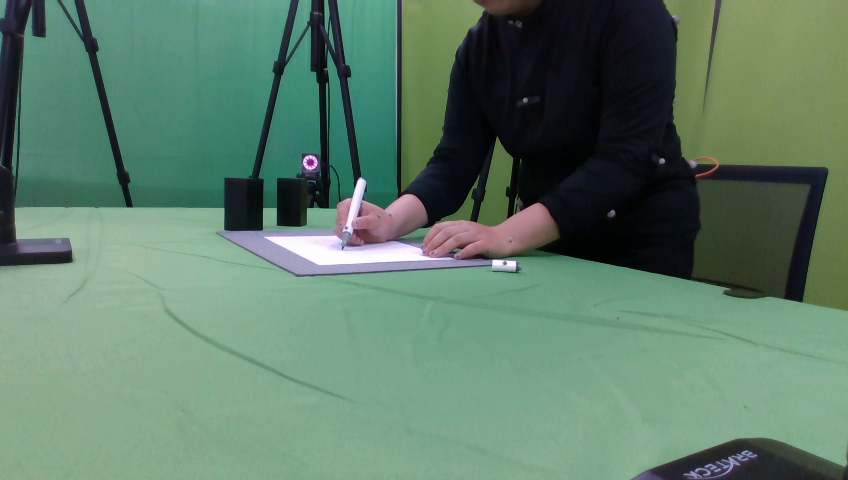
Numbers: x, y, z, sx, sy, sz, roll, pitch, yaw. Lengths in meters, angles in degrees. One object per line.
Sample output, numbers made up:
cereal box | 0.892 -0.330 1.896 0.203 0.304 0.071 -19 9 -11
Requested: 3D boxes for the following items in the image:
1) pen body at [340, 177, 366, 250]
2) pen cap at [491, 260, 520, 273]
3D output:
pen body | -0.116 -0.042 0.972 0.017 0.144 0.017 8 -35 6
pen cap | 0.110 0.036 0.813 0.038 0.017 0.017 3 7 7
